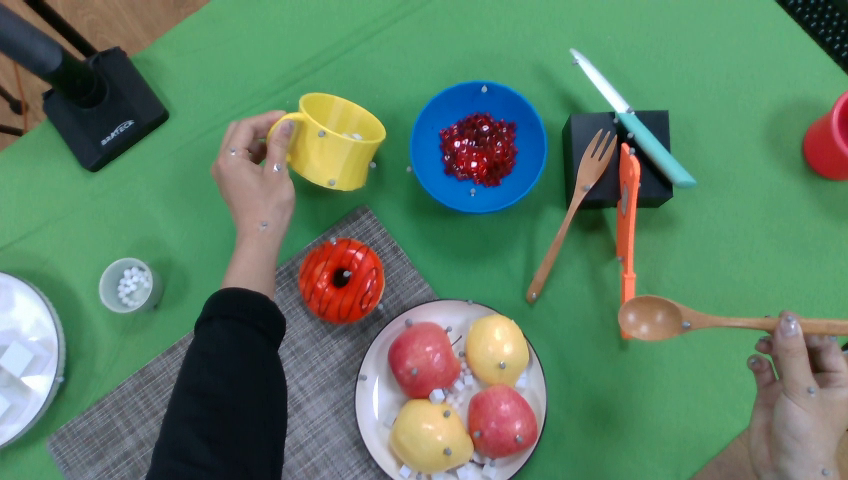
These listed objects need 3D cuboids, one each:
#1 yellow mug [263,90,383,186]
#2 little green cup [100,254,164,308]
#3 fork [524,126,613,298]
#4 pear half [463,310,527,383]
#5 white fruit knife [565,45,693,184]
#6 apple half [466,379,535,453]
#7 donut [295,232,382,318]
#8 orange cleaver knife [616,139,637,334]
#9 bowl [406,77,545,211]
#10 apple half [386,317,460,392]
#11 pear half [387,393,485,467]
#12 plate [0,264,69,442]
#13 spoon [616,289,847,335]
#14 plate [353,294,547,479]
[{"bbox_3d":[-0.114,-0.113,0.665,0.099,0.131,0.064,50,127,33],"label":"yellow mug"},{"bbox_3d":[-0.333,0.049,0.697,0.061,0.039,0.061,0,80,3],"label":"little green cup"},{"bbox_3d":[0.156,-0.027,0.670,0.028,0.018,0.208,21,102,-4],"label":"fork"},{"bbox_3d":[0.074,0.121,0.654,0.070,0.031,0.088,-9,89,23],"label":"pear half"},{"bbox_3d":[0.223,-0.141,0.674,0.027,0.016,0.206,-30,77,-33],"label":"white fruit knife"},{"bbox_3d":[0.074,0.188,0.640,0.081,0.033,0.081,0,92,22],"label":"apple half"},{"bbox_3d":[-0.096,0.040,0.684,0.099,0.048,0.098,0,82,3],"label":"donut"},{"bbox_3d":[0.220,-0.002,0.666,0.012,0.077,0.212,-2,106,7],"label":"orange cleaver knife"},{"bbox_3d":[0.057,-0.099,0.690,0.151,0.077,0.151,0,81,1],"label":"bowl"},{"bbox_3d":[-0.003,0.125,0.652,0.074,0.053,0.080,-20,84,-1],"label":"apple half"},{"bbox_3d":[0.018,0.209,0.641,0.110,0.056,0.076,26,86,1],"label":"pear half"},{"bbox_3d":[-0.503,0.130,0.689,0.207,0.039,0.207,0,80,2],"label":"plate"},{"bbox_3d":[0.261,0.065,0.507,0.192,0.022,0.041,0,82,33],"label":"spoon"},{"bbox_3d":[0.028,0.164,0.663,0.209,0.038,0.208,0,80,2],"label":"plate"}]
